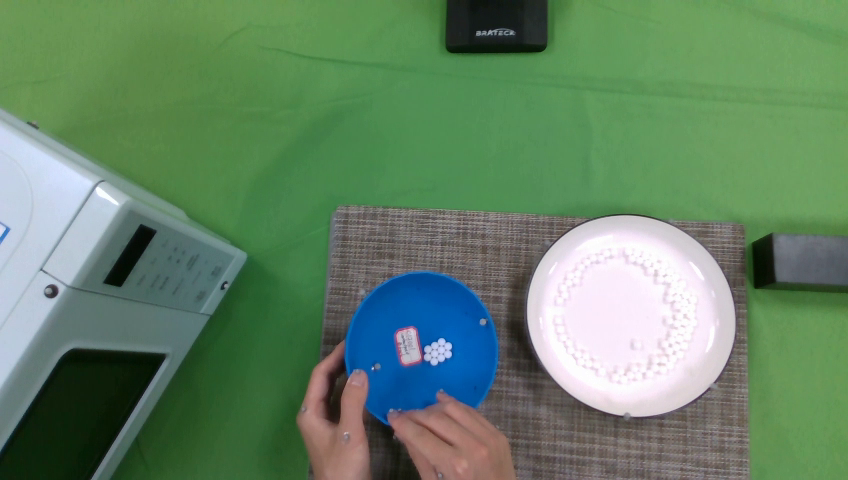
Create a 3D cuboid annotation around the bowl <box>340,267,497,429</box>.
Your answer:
[{"bbox_3d":[-0.014,0.105,0.599,0.152,0.077,0.151,3,81,-17],"label":"bowl"}]

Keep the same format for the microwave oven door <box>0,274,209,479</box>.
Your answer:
[{"bbox_3d":[-0.350,0.200,0.536,0.039,0.245,0.355,29,83,11],"label":"microwave oven door"}]

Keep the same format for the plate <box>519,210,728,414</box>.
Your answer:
[{"bbox_3d":[0.202,0.073,0.630,0.207,0.039,0.206,-1,79,5],"label":"plate"}]

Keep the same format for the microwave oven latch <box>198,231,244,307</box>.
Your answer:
[{"bbox_3d":[-0.229,0.033,0.661,0.030,0.029,0.079,31,84,10],"label":"microwave oven latch"}]

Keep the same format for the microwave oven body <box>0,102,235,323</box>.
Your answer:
[{"bbox_3d":[-0.454,0.095,0.570,0.325,0.261,0.441,29,84,9],"label":"microwave oven body"}]
